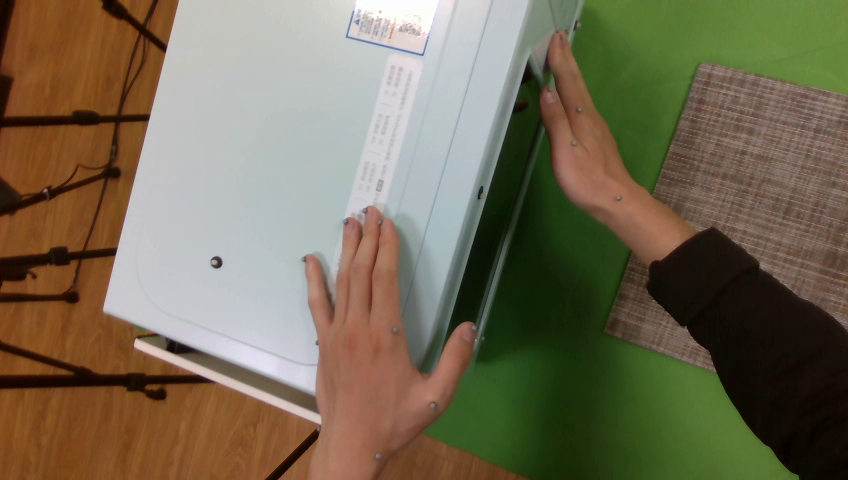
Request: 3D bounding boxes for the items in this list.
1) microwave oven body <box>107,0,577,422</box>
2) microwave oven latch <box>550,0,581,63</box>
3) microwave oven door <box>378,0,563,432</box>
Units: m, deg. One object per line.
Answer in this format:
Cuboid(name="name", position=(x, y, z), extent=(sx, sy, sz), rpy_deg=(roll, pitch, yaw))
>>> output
Cuboid(name="microwave oven body", position=(-0.068, -0.104, 0.603), extent=(0.324, 0.261, 0.442), rpy_deg=(17, 95, 16))
Cuboid(name="microwave oven latch", position=(0.145, -0.231, 0.640), extent=(0.030, 0.029, 0.079), rpy_deg=(17, 95, 16))
Cuboid(name="microwave oven door", position=(0.053, -0.023, 0.562), extent=(0.039, 0.245, 0.356), rpy_deg=(17, 94, 17))
